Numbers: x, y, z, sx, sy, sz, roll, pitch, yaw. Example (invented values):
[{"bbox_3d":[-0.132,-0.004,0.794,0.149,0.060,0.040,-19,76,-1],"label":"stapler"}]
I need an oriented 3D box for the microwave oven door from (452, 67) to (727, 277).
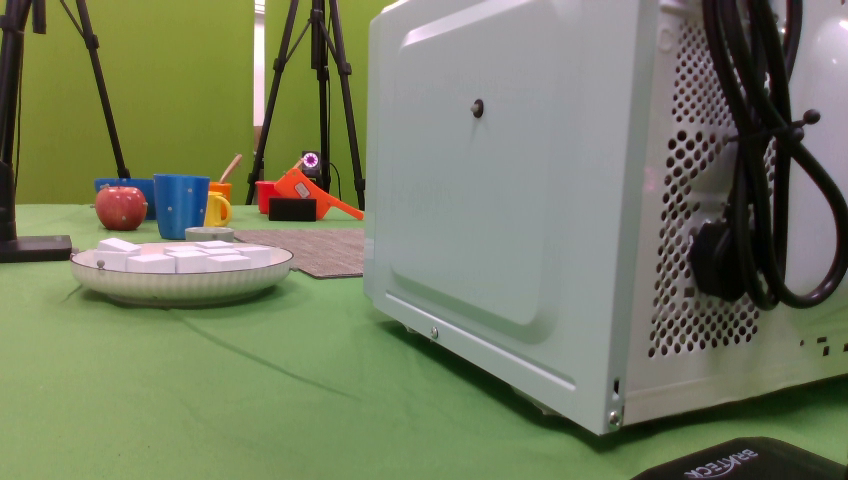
[{"bbox_3d":[0.196,-0.095,0.800,0.354,0.243,0.039,8,10,36],"label":"microwave oven door"}]

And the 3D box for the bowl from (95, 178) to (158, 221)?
[{"bbox_3d":[-0.576,-0.081,1.217,0.151,0.077,0.151,3,8,0],"label":"bowl"}]

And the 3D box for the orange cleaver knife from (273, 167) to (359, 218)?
[{"bbox_3d":[-0.238,-0.091,1.381,0.212,0.077,0.012,31,1,-19],"label":"orange cleaver knife"}]

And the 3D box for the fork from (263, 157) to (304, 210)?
[{"bbox_3d":[-0.345,-0.143,1.506,0.028,0.019,0.207,-4,46,29],"label":"fork"}]

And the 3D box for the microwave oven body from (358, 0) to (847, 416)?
[{"bbox_3d":[0.211,-0.047,0.475,0.444,0.260,0.324,-1,7,-28],"label":"microwave oven body"}]

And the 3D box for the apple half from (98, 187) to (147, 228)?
[{"bbox_3d":[-0.534,-0.059,1.071,0.082,0.081,0.032,-1,11,-25],"label":"apple half"}]

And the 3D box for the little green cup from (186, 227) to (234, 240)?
[{"bbox_3d":[-0.284,0.005,0.805,0.061,0.038,0.061,2,8,0],"label":"little green cup"}]

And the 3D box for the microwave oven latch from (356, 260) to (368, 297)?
[{"bbox_3d":[-0.020,0.033,0.530,0.079,0.029,0.030,0,7,-26],"label":"microwave oven latch"}]

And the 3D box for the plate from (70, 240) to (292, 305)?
[{"bbox_3d":[-0.242,0.031,0.618,0.208,0.039,0.207,2,8,0],"label":"plate"}]

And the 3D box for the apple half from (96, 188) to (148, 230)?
[{"bbox_3d":[-0.517,-0.052,1.036,0.081,0.074,0.053,2,10,-26],"label":"apple half"}]

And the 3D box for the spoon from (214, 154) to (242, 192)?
[{"bbox_3d":[-0.439,-0.124,1.318,0.041,0.193,0.022,6,-36,16],"label":"spoon"}]

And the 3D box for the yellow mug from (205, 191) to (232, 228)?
[{"bbox_3d":[-0.415,-0.057,1.131,0.130,0.064,0.100,6,7,16],"label":"yellow mug"}]

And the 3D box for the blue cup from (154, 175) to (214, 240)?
[{"bbox_3d":[-0.390,-0.053,0.978,0.093,0.100,0.092,3,6,0],"label":"blue cup"}]
